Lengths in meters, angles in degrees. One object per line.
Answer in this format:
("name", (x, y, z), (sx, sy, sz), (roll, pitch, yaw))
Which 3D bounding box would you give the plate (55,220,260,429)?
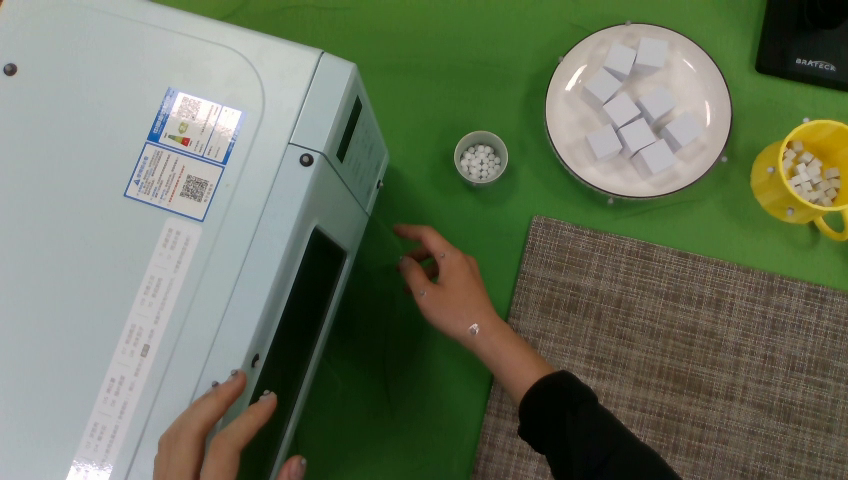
("plate", (-0.268, 0.085, 0.622), (0.209, 0.038, 0.208), (0, 82, 3))

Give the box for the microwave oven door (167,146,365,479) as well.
("microwave oven door", (-0.143, 0.112, 0.553), (0.039, 0.244, 0.355), (17, 82, 6))

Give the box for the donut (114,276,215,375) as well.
("donut", (-0.258, 0.085, 0.607), (0.099, 0.048, 0.099), (0, 85, 0))

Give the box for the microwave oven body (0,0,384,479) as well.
("microwave oven body", (-0.267, 0.028, 0.577), (0.325, 0.261, 0.440), (18, 83, 5))

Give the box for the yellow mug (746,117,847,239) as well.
("yellow mug", (0.424, -0.062, 0.660), (0.100, 0.064, 0.130), (-22, 82, -1))

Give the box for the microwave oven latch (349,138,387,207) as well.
("microwave oven latch", (-0.066, -0.079, 0.680), (0.030, 0.029, 0.079), (21, 84, 5))

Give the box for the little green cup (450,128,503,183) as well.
("little green cup", (0.061, -0.094, 0.694), (0.061, 0.039, 0.061), (0, 85, 5))

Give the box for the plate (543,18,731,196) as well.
("plate", (0.240, -0.149, 0.696), (0.207, 0.039, 0.207), (0, 81, 3))
